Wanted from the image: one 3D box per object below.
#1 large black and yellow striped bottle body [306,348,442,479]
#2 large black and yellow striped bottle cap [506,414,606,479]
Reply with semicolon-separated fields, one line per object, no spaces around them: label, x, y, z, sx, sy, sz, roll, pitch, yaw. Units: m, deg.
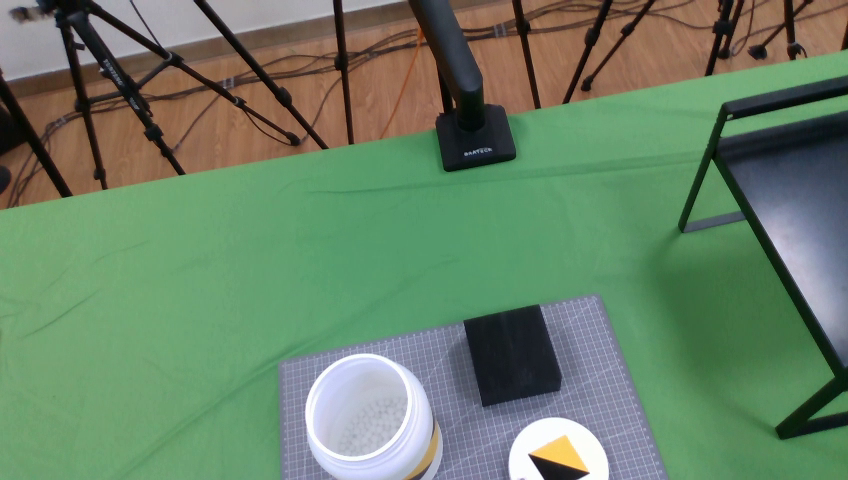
large black and yellow striped bottle body;-0.053;0.205;0.675;0.130;0.186;0.129;-4;58;7
large black and yellow striped bottle cap;0.154;0.261;0.709;0.115;0.019;0.114;-3;57;5
